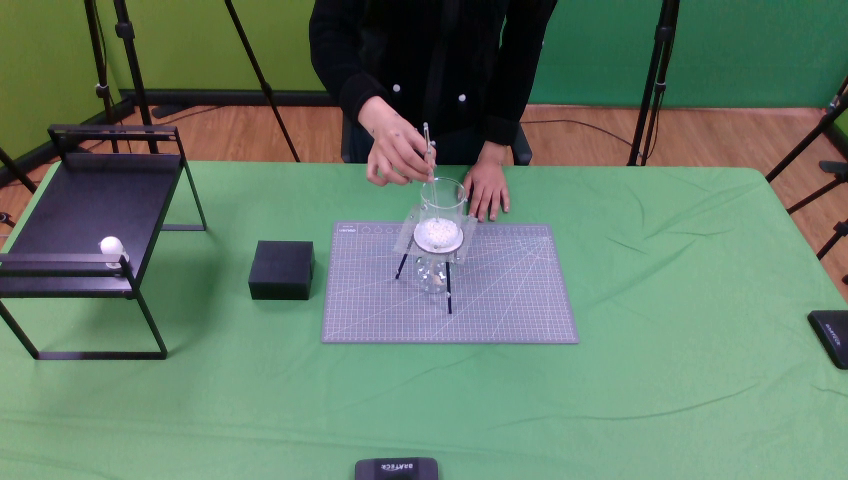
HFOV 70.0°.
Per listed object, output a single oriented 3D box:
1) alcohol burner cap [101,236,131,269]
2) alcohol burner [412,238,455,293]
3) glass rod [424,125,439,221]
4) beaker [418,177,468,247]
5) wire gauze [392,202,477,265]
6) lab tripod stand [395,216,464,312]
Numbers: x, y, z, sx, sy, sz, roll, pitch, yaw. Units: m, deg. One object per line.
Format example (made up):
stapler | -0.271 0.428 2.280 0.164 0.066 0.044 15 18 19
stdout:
alcohol burner cap | -0.452 0.016 0.883 0.034 0.048 0.033 2 47 -1
alcohol burner | 0.019 0.040 1.094 0.078 0.119 0.077 3 45 -3
glass rod | 0.013 -0.097 0.929 0.008 0.201 0.008 -3 50 4
beaker | 0.026 -0.045 1.004 0.074 0.101 0.083 -21 51 -23
wire gauze | 0.021 -0.011 1.037 0.121 0.011 0.124 13 49 8
lab tripod stand | 0.023 0.037 1.084 0.148 0.132 0.147 4 46 -4
